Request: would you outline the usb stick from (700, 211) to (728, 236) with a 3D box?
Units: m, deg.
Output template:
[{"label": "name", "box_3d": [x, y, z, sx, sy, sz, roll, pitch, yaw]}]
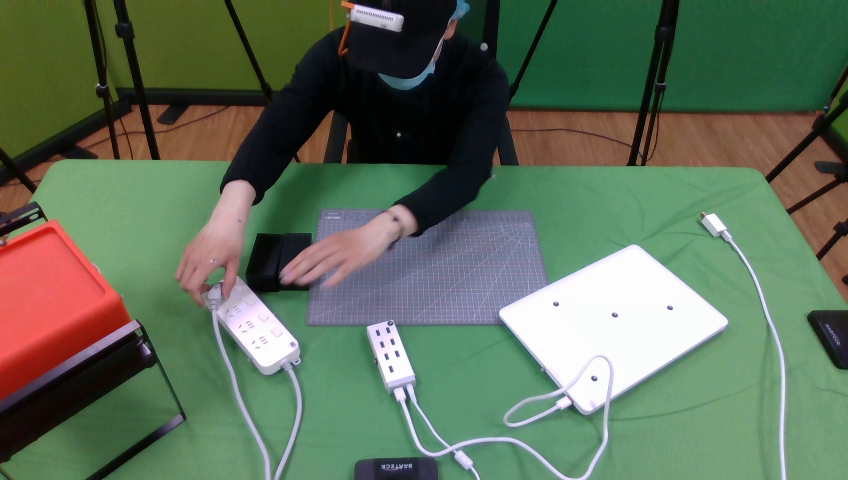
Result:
[{"label": "usb stick", "box_3d": [0.606, -0.038, 1.273, 0.027, 0.021, 0.059, -19, 56, -20]}]

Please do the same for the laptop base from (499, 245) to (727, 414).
[{"label": "laptop base", "box_3d": [0.339, 0.145, 1.088, 0.354, 0.023, 0.234, -23, 49, -24]}]

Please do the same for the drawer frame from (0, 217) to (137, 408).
[{"label": "drawer frame", "box_3d": [-0.523, 0.094, 0.779, 0.200, 0.083, 0.213, 37, 55, 26]}]

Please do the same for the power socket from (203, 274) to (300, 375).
[{"label": "power socket", "box_3d": [-0.297, 0.140, 1.035, 0.072, 0.033, 0.225, -32, 56, -29]}]

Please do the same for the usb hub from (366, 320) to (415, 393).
[{"label": "usb hub", "box_3d": [-0.056, 0.192, 1.008, 0.049, 0.025, 0.124, -12, 48, -17]}]

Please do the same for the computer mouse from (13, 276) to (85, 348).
[{"label": "computer mouse", "box_3d": [-0.497, 0.090, 0.804, 0.063, 0.041, 0.116, -7, 42, -7]}]

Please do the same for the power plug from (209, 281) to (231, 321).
[{"label": "power plug", "box_3d": [-0.351, 0.104, 1.023, 0.035, 0.053, 0.072, 11, 70, 5]}]

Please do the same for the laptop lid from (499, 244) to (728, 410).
[{"label": "laptop lid", "box_3d": [0.338, 0.136, 1.081, 0.357, 0.013, 0.240, -21, 50, -23]}]

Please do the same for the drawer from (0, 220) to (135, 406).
[{"label": "drawer", "box_3d": [-0.522, 0.093, 0.782, 0.193, 0.073, 0.211, 37, 55, 27]}]
